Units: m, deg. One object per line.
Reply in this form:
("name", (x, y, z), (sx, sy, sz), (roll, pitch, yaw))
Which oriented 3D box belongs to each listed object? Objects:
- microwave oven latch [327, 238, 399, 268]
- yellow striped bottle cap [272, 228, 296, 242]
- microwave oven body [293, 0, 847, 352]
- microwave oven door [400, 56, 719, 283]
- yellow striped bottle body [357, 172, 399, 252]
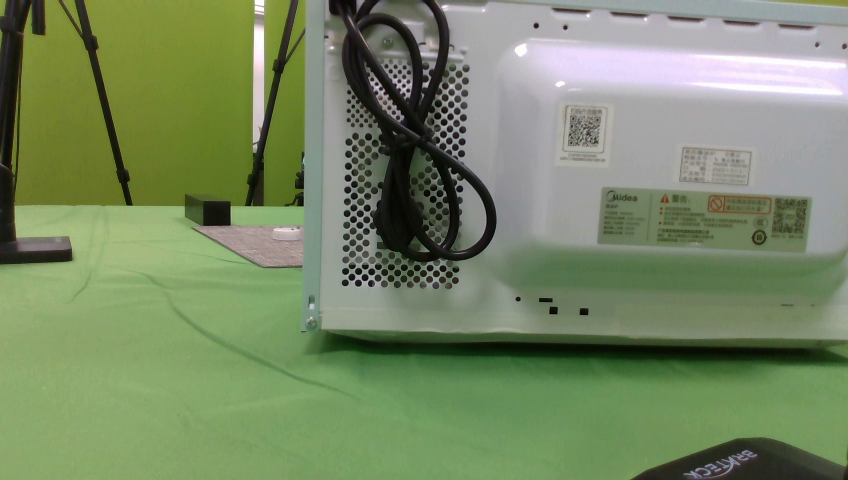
("microwave oven latch", (-0.069, 0.015, 0.694), (0.079, 0.029, 0.030), (3, 7, -3))
("yellow striped bottle cap", (-0.232, -0.008, 1.012), (0.044, 0.018, 0.044), (4, 8, 0))
("microwave oven body", (0.122, -0.055, 0.550), (0.442, 0.260, 0.325), (3, 7, -5))
("microwave oven door", (0.155, -0.078, 0.698), (0.356, 0.243, 0.039), (2, 8, -5))
("yellow striped bottle body", (-0.071, -0.044, 0.933), (0.063, 0.120, 0.063), (2, 8, 0))
